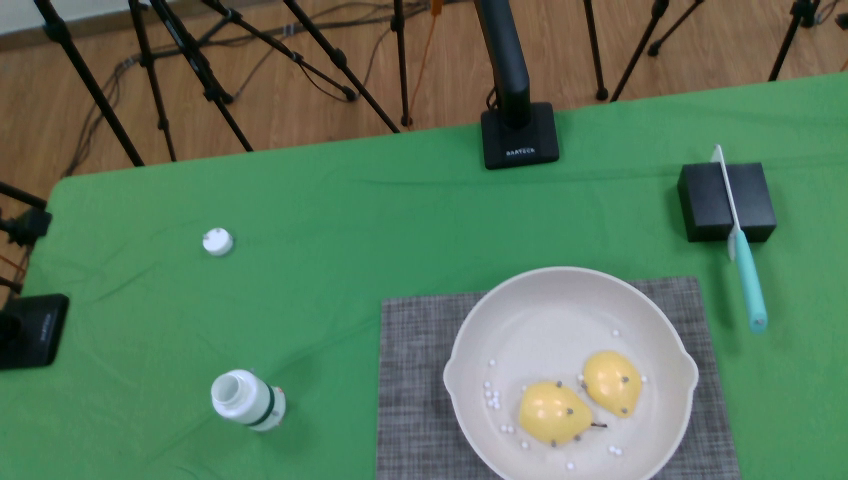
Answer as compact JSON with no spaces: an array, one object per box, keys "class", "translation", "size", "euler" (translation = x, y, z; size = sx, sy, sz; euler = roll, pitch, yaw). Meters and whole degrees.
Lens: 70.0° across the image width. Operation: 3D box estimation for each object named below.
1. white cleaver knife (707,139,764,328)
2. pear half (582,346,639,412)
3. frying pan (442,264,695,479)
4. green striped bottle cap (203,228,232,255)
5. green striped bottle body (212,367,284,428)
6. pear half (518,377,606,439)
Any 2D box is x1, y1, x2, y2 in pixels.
[{"class":"white cleaver knife","translation":[0.422,-0.014,0.829],"size":[0.021,0.066,0.284],"euler":[-5,60,15]},{"class":"pear half","translation":[0.242,0.176,0.783],"size":[0.070,0.031,0.087],"euler":[-21,58,6]},{"class":"frying pan","translation":[0.173,0.258,0.716],"size":[0.306,0.104,0.483],"euler":[-4,54,11]},{"class":"green striped bottle cap","translation":[-0.341,0.002,1.003],"size":[0.044,0.020,0.044],"euler":[-5,63,10]},{"class":"green striped bottle body","translation":[-0.240,0.212,0.817],"size":[0.063,0.120,0.062],"euler":[-5,62,9]},{"class":"pear half","translation":[0.175,0.213,0.765],"size":[0.109,0.056,0.076],"euler":[7,70,13]}]
